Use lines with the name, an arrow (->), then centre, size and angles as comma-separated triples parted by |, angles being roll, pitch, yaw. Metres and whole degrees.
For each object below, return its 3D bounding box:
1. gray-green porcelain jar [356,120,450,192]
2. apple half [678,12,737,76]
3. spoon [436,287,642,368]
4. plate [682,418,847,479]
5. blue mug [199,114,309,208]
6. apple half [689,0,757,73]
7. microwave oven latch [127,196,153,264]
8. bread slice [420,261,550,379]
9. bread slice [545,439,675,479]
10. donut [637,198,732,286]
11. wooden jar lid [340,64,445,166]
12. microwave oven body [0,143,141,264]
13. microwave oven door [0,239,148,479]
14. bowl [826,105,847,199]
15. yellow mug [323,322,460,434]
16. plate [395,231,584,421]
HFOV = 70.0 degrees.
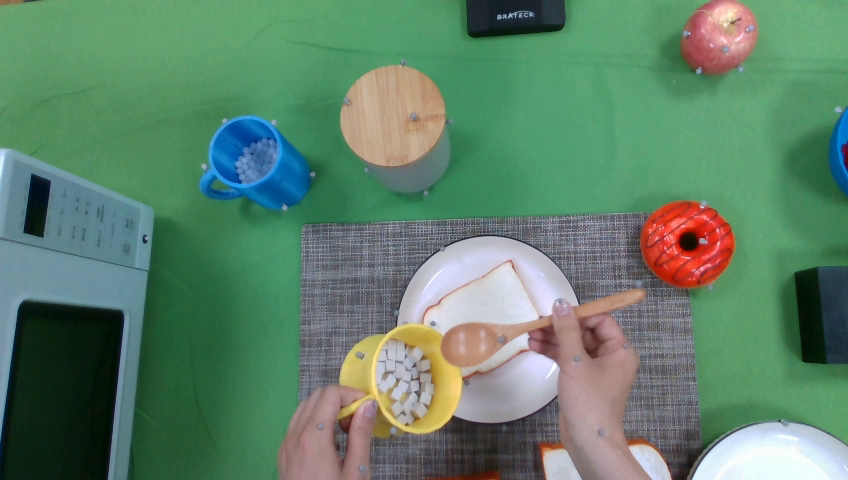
gray-green porcelain jar -> -0.025, -0.115, 0.683 | 0.106, 0.127, 0.105 | -1, 81, 6
apple half -> 0.312, -0.213, 0.689 | 0.033, 0.081, 0.081 | -34, 79, -5
spoon -> 0.105, 0.076, 0.551 | 0.194, 0.022, 0.041 | -17, 75, 5
plate -> 0.366, 0.289, 0.626 | 0.209, 0.038, 0.208 | -1, 81, 6
blue mug -> -0.202, -0.081, 0.705 | 0.116, 0.106, 0.082 | -27, 79, 1
apple half -> 0.344, -0.236, 0.691 | 0.053, 0.075, 0.080 | -33, 75, -6
microwave oven latch -> -0.346, -0.012, 0.724 | 0.030, 0.029, 0.079 | 4, 82, 6
bread slice -> 0.063, 0.097, 0.685 | 0.131, 0.019, 0.104 | -27, 79, -1
bread slice -> 0.198, 0.263, 0.620 | 0.135, 0.018, 0.106 | -6, 77, -15
donut -> 0.287, 0.002, 0.671 | 0.099, 0.048, 0.098 | -1, 82, 6
wooden jar lid -> -0.032, -0.126, 0.621 | 0.108, 0.021, 0.108 | -1, 79, 6
microwave oven body -> -0.511, 0.143, 0.619 | 0.326, 0.261, 0.440 | 2, 82, 5
microwave oven door -> -0.368, 0.188, 0.592 | 0.039, 0.245, 0.354 | 1, 81, 6
bowl -> 0.500, -0.088, 0.650 | 0.151, 0.077, 0.151 | -1, 81, 6
yellow mug -> -0.035, 0.137, 0.567 | 0.131, 0.064, 0.100 | -20, 86, -37
plate -> 0.073, 0.095, 0.682 | 0.207, 0.039, 0.207 | -1, 82, 6
